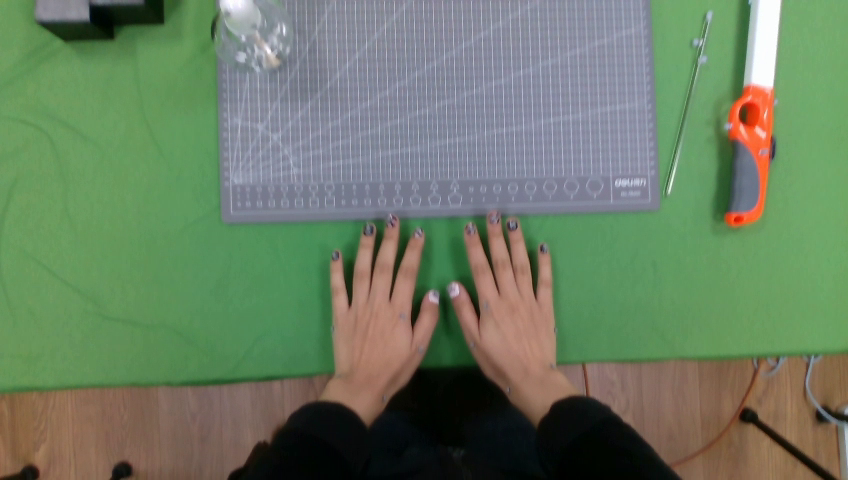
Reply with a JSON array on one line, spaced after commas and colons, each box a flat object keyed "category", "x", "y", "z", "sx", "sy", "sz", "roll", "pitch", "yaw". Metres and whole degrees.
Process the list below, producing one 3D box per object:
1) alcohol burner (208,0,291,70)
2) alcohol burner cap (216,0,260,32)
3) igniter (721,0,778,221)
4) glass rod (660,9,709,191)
[{"category": "alcohol burner", "x": -0.165, "y": -0.203, "z": 0.560, "sx": 0.078, "sy": 0.119, "sz": 0.078, "roll": 0, "pitch": 86, "yaw": -2}, {"category": "alcohol burner cap", "x": -0.162, "y": -0.203, "z": 0.524, "sx": 0.034, "sy": 0.048, "sz": 0.034, "roll": 0, "pitch": 90, "yaw": -6}, {"category": "igniter", "x": 0.344, "y": -0.155, "z": 0.633, "sx": 0.057, "sy": 0.025, "sz": 0.276, "roll": 7, "pitch": 89, "yaw": -13}, {"category": "glass rod", "x": 0.274, "y": -0.148, "z": 0.639, "sx": 0.008, "sy": 0.008, "sz": 0.199, "roll": 15, "pitch": 88, "yaw": -3}]
